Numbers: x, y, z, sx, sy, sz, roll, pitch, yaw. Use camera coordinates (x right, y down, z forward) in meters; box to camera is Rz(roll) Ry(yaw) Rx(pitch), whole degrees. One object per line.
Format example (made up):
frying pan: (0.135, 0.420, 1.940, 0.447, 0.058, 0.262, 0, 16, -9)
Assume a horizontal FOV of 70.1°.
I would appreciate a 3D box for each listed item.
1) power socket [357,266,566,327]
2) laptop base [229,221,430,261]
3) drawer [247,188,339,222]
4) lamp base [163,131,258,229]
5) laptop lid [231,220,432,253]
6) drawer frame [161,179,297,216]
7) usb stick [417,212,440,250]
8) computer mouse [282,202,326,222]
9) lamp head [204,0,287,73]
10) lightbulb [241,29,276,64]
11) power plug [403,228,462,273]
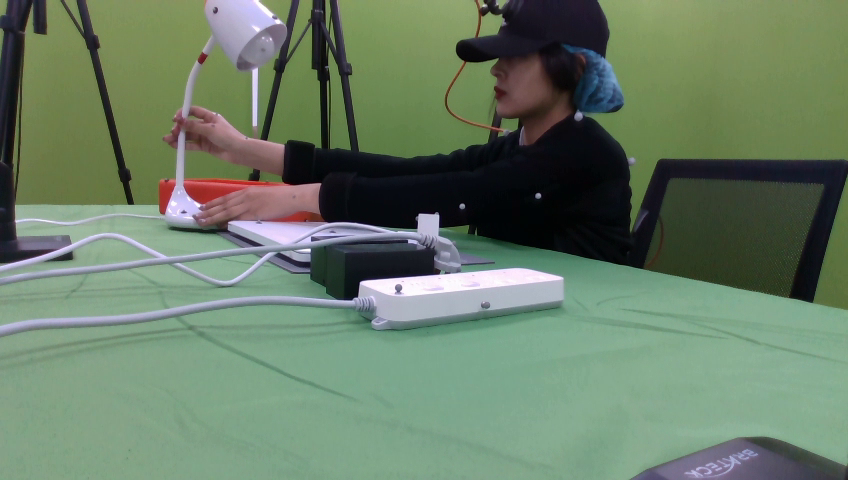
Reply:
power socket: (0.041, 0.049, 0.573, 0.228, 0.032, 0.072, -3, 8, -34)
laptop base: (-0.145, 0.001, 0.943, 0.237, 0.023, 0.352, 3, 6, -32)
drawer: (-0.315, -0.078, 1.301, 0.211, 0.073, 0.195, 4, 9, 15)
lamp base: (-0.402, -0.112, 1.118, 0.179, 0.180, 0.160, -1, 5, 1)
laptop lid: (-0.143, -0.009, 0.942, 0.243, 0.013, 0.355, 1, 7, -31)
drawer frame: (-0.421, -0.089, 1.330, 0.213, 0.082, 0.202, 4, 8, 16)
usb stick: (0.006, -0.003, 0.721, 0.027, 0.059, 0.021, -1, -4, -2)
computer mouse: (-0.254, -0.061, 1.293, 0.063, 0.041, 0.117, 3, 3, 10)
lamp head: (-0.314, -0.361, 1.027, 0.123, 0.112, 0.112, 42, 12, 3)
lightbulb: (-0.295, -0.346, 1.021, 0.059, 0.107, 0.059, -38, -3, -2)
power plug: (0.006, 0.016, 0.647, 0.073, 0.052, 0.035, 18, 12, -6)
